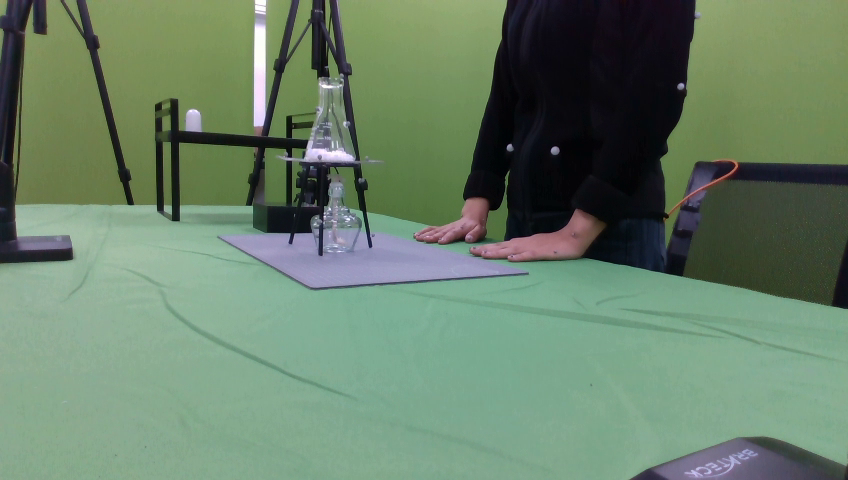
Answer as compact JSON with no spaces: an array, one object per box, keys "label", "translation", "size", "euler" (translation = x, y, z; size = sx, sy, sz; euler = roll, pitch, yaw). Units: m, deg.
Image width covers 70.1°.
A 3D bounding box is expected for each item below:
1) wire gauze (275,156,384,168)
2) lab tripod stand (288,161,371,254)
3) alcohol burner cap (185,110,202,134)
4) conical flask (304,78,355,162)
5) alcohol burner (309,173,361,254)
[{"label":"wire gauze","translation":[-0.142,-0.116,0.900],"size":[0.122,0.011,0.124],"euler":[-1,5,-37]},{"label":"lab tripod stand","translation":[-0.148,-0.052,0.909],"size":[0.148,0.131,0.148],"euler":[1,8,0]},{"label":"alcohol burner cap","translation":[-0.470,-0.242,1.234],"size":[0.034,0.048,0.034],"euler":[4,7,0]},{"label":"conical flask","translation":[-0.139,-0.175,0.893],"size":[0.075,0.122,0.075],"euler":[2,8,0]},{"label":"alcohol burner","translation":[-0.132,-0.041,0.900],"size":[0.078,0.119,0.078],"euler":[1,6,0]}]
